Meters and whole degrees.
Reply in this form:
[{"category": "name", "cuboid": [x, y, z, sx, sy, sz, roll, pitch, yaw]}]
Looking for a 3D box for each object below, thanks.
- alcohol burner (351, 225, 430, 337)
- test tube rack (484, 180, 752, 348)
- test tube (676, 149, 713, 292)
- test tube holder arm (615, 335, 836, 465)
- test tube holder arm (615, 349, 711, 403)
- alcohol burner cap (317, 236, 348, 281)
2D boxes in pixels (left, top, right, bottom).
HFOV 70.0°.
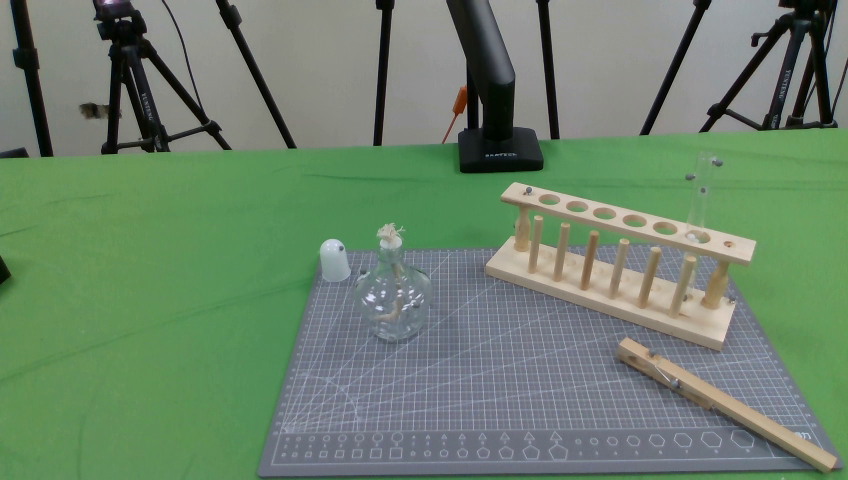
[{"category": "alcohol burner", "cuboid": [-0.032, 0.034, 0.576, 0.078, 0.120, 0.077, -1, 37, 1]}, {"category": "test tube rack", "cuboid": [0.183, 0.017, 0.609, 0.240, 0.086, 0.066, 18, 41, 27]}, {"category": "test tube", "cuboid": [0.248, -0.014, 0.561, 0.017, 0.151, 0.017, -5, 32, 4]}, {"category": "test tube holder arm", "cuboid": [0.241, 0.128, 0.502, 0.176, 0.013, 0.015, 28, 51, 35]}, {"category": "test tube holder arm", "cuboid": [0.210, 0.116, 0.532, 0.087, 0.010, 0.015, 23, 48, 39]}, {"category": "alcohol burner cap", "cuboid": [-0.102, 0.018, 0.667, 0.034, 0.048, 0.033, -1, 36, 1]}]
